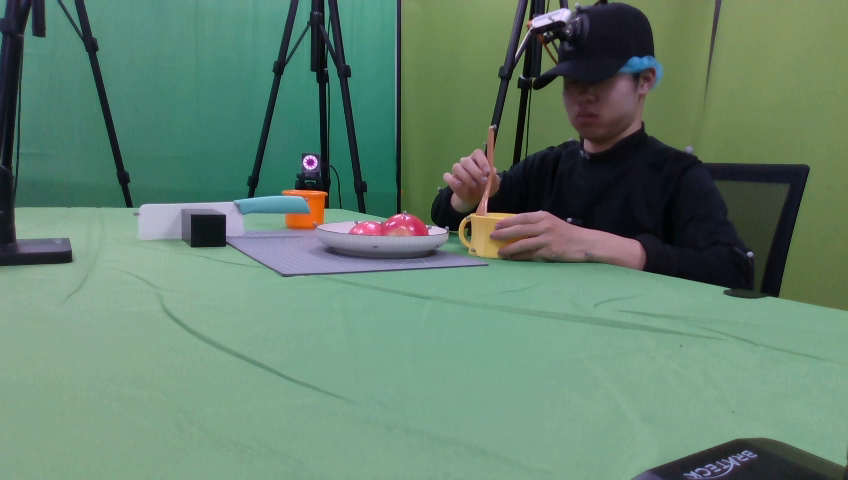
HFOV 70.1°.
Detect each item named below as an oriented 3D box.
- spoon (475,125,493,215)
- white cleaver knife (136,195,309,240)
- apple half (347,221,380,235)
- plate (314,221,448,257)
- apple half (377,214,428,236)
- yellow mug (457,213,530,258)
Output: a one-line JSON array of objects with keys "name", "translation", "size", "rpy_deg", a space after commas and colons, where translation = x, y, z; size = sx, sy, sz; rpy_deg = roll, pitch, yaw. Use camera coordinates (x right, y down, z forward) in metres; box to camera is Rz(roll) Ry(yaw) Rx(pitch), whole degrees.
[{"name": "spoon", "translation": [0.100, -0.092, 0.982], "size": [0.022, 0.193, 0.041], "rpy_deg": [12, -10, -19]}, {"name": "white cleaver knife", "translation": [-0.337, -0.039, 1.037], "size": [0.288, 0.066, 0.021], "rpy_deg": [-6, 15, -29]}, {"name": "apple half", "translation": [-0.088, -0.014, 0.985], "size": [0.081, 0.033, 0.081], "rpy_deg": [5, 5, 0]}, {"name": "plate", "translation": [-0.067, -0.002, 0.948], "size": [0.209, 0.038, 0.209], "rpy_deg": [3, 7, 0]}, {"name": "apple half", "translation": [-0.034, -0.013, 0.924], "size": [0.080, 0.053, 0.075], "rpy_deg": [5, 10, 16]}, {"name": "yellow mug", "translation": [0.108, -0.011, 0.992], "size": [0.130, 0.064, 0.100], "rpy_deg": [7, 7, 36]}]
